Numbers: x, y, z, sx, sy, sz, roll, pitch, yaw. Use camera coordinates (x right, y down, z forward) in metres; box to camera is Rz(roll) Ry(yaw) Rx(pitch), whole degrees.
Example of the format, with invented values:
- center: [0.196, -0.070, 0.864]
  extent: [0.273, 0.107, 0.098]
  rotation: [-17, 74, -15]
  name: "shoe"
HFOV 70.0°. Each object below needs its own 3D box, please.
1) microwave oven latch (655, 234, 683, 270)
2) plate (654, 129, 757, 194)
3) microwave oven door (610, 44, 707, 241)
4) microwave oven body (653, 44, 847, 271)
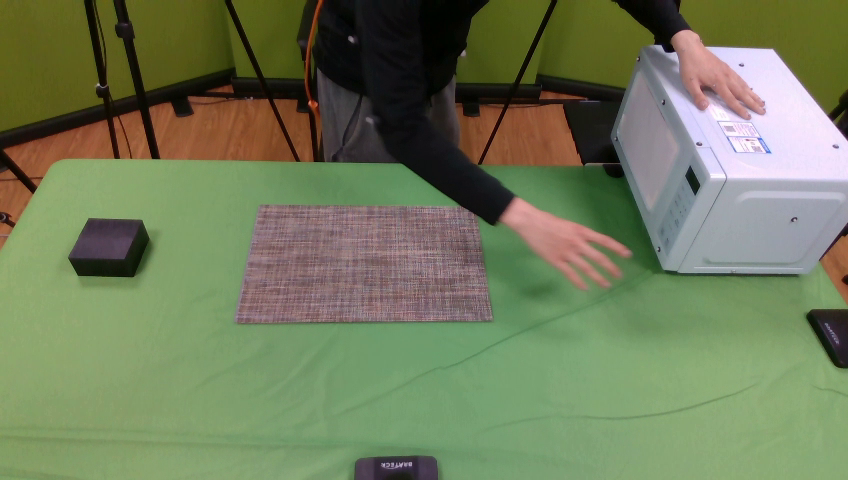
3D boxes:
- center: [0.473, 0.021, 1.175]
  extent: [0.030, 0.029, 0.078]
  rotation: [2, 46, -1]
  name: "microwave oven latch"
- center: [0.600, -0.165, 1.305]
  extent: [0.209, 0.038, 0.208]
  rotation: [0, 46, 0]
  name: "plate"
- center: [0.473, -0.208, 1.250]
  extent: [0.039, 0.245, 0.353]
  rotation: [0, 47, -3]
  name: "microwave oven door"
- center: [0.620, -0.172, 1.234]
  extent: [0.326, 0.261, 0.439]
  rotation: [0, 46, -3]
  name: "microwave oven body"
